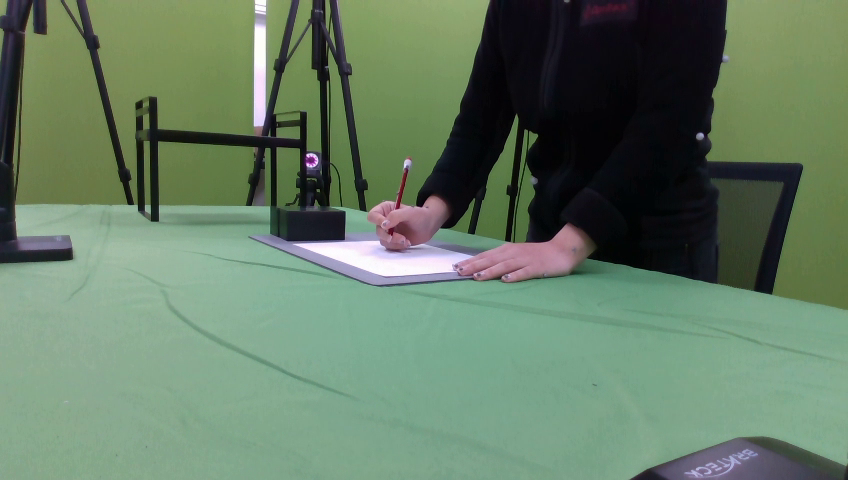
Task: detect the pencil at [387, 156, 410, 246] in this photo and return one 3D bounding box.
[{"bbox_3d":[-0.040,-0.064,0.938,0.012,0.012,0.194,4,49,8],"label":"pencil"}]
